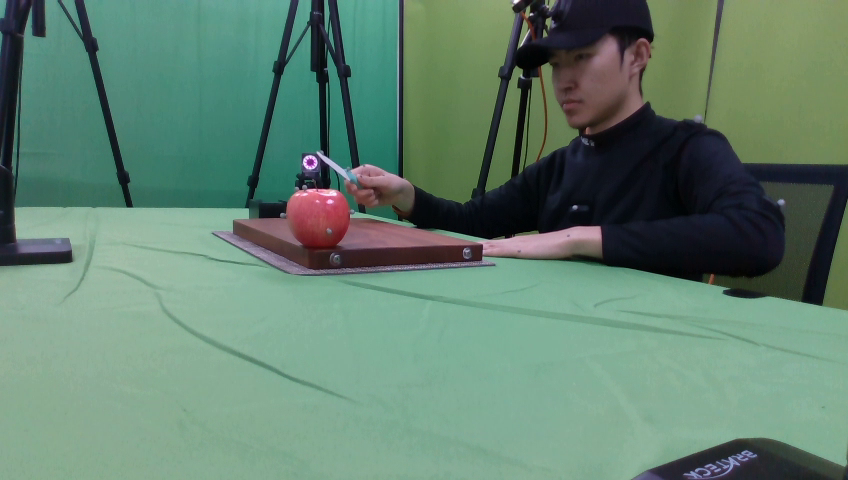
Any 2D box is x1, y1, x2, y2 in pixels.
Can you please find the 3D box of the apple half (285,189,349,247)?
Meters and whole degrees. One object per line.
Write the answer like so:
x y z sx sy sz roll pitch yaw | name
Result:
-0.132 -0.026 0.765 0.081 0.074 0.053 2 10 -22 | apple half

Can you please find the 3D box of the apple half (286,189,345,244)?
-0.146 -0.032 0.801 0.081 0.081 0.032 0 11 -22 | apple half

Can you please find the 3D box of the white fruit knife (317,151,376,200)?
-0.139 -0.118 1.100 0.016 0.027 0.208 -31 -25 11 | white fruit knife
